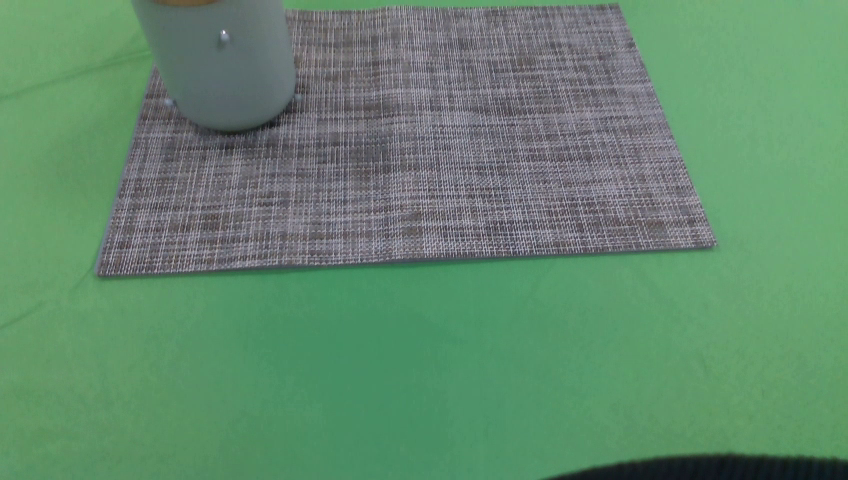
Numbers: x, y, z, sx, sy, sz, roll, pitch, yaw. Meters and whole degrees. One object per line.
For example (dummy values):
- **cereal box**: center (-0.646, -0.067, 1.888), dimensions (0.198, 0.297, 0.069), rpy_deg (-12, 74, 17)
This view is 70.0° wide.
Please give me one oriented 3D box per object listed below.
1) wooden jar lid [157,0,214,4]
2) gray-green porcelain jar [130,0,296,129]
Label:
- **wooden jar lid**: center (-0.159, -0.197, 0.424), dimensions (0.108, 0.021, 0.107), rpy_deg (1, 58, -1)
- **gray-green porcelain jar**: center (-0.159, -0.160, 0.474), dimensions (0.106, 0.127, 0.105), rpy_deg (1, 55, -1)
